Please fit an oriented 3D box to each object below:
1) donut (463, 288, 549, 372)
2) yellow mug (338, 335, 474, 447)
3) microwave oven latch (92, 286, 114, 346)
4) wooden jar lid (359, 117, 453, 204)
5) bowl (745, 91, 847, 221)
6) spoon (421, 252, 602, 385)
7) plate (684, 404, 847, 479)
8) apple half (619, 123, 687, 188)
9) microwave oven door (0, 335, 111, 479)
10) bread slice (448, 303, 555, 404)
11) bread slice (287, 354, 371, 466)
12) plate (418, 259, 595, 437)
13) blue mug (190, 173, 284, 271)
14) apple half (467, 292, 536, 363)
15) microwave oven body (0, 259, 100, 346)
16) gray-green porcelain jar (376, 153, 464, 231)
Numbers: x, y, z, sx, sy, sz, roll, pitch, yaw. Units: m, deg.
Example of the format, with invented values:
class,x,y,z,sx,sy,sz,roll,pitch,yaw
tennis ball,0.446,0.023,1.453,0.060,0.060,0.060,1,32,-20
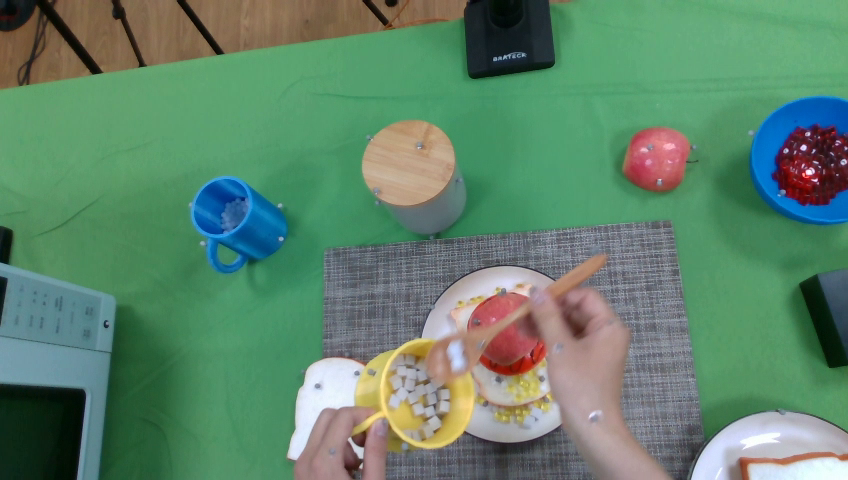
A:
class,x,y,z,sx,sy,sz,roll,pitch,yaw
donut,0.095,0.104,0.702,0.099,0.048,0.098,-3,75,11
yellow mug,-0.022,0.151,0.575,0.131,0.064,0.099,-21,83,-33
microwave oven latch,-0.441,0.102,0.817,0.030,0.030,0.078,-1,76,10
wooden jar lid,-0.019,-0.090,0.694,0.108,0.021,0.107,-2,73,8
bowl,0.442,-0.085,0.698,0.151,0.077,0.150,-3,75,11
spoon,0.076,0.070,0.538,0.194,0.022,0.041,-37,77,19
plate,0.378,0.279,0.634,0.209,0.038,0.208,-3,75,10
apple half,0.284,-0.110,0.748,0.074,0.054,0.080,17,79,17
microwave oven door,-0.455,0.287,0.663,0.039,0.245,0.353,-5,74,10
bread slice,0.100,0.129,0.734,0.107,0.018,0.133,-22,65,1
bread slice,-0.114,0.208,0.755,0.104,0.019,0.131,3,78,10
plate,0.096,0.127,0.725,0.207,0.039,0.206,-3,75,10
blue mug,-0.248,-0.015,0.796,0.082,0.106,0.116,16,79,15
apple half,0.085,0.094,0.667,0.081,0.033,0.081,-6,69,16
microwave oven body,-0.598,0.259,0.703,0.325,0.262,0.439,-5,75,9
gray-green porcelain jar,-0.006,-0.073,0.755,0.105,0.127,0.105,-3,74,10
